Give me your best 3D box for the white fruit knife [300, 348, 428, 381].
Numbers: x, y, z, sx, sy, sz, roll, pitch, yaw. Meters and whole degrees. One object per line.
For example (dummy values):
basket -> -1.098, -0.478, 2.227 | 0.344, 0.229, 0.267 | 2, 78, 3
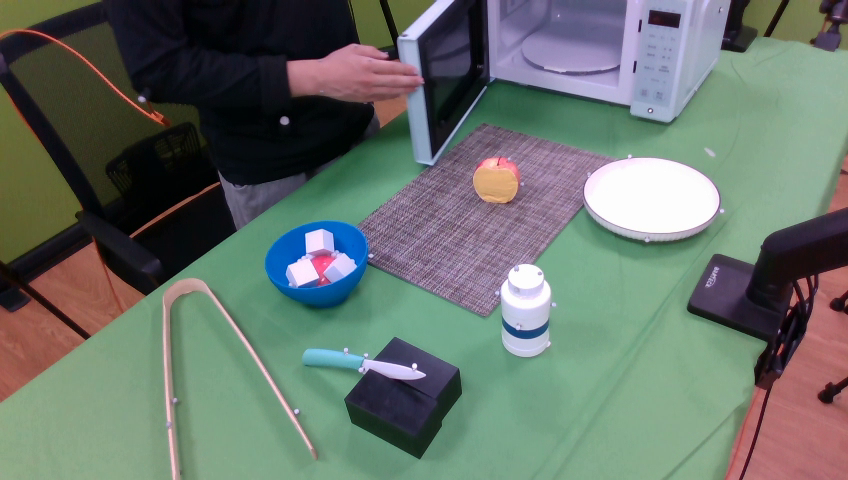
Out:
white fruit knife -> -0.079, 0.154, 0.748 | 0.206, 0.027, 0.016 | 1, 21, 34

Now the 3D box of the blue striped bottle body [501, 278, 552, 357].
blue striped bottle body -> 0.130, 0.088, 0.769 | 0.063, 0.121, 0.063 | -4, 41, 4

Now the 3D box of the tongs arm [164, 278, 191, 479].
tongs arm -> -0.313, 0.182, 0.789 | 0.051, 0.026, 0.381 | -19, 41, -14

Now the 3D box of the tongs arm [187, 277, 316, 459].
tongs arm -> -0.241, 0.154, 0.815 | 0.028, 0.028, 0.384 | -31, 46, -21

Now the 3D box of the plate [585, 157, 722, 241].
plate -> 0.367, -0.063, 0.979 | 0.207, 0.039, 0.206 | -4, 40, 4

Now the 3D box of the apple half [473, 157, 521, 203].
apple half -> 0.127, -0.106, 1.030 | 0.080, 0.075, 0.053 | 4, 36, 19

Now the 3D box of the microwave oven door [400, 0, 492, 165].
microwave oven door -> 0.054, -0.343, 1.167 | 0.039, 0.245, 0.356 | 11, 44, 21

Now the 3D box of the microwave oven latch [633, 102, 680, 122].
microwave oven latch -> 0.444, -0.249, 1.157 | 0.078, 0.029, 0.030 | 21, 49, 30

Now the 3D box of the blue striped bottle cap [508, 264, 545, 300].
blue striped bottle cap -> 0.125, 0.050, 0.735 | 0.044, 0.021, 0.044 | -5, 39, 5

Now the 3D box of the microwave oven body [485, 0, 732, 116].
microwave oven body -> 0.377, -0.462, 1.267 | 0.438, 0.261, 0.327 | 21, 48, 30

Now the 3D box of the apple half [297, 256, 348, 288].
apple half -> -0.154, 0.044, 0.889 | 0.081, 0.033, 0.081 | -2, 40, 2

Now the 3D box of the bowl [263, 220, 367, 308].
bowl -> -0.152, 0.047, 0.892 | 0.151, 0.077, 0.150 | -4, 40, 4
